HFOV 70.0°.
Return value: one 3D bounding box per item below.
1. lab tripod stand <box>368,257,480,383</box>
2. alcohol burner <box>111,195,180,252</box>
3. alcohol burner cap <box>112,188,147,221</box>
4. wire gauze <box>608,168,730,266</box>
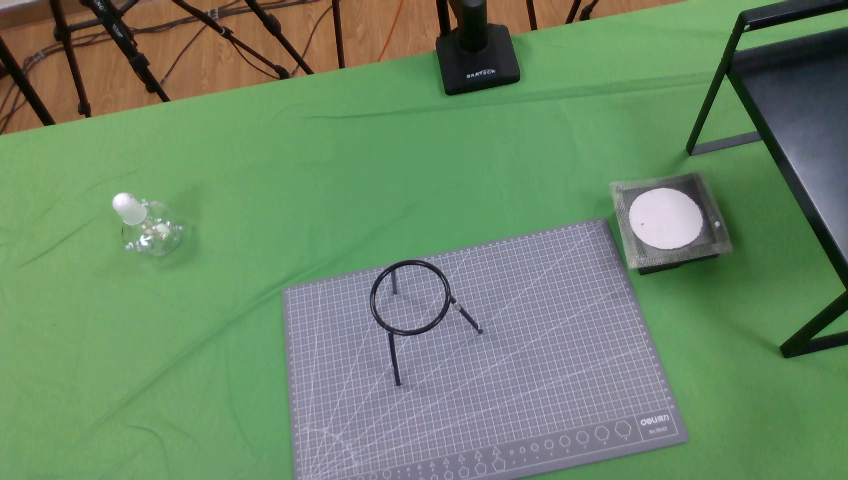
[{"bbox_3d":[-0.012,0.085,0.713,0.148,0.132,0.147,-4,62,8],"label":"lab tripod stand"},{"bbox_3d":[-0.389,-0.033,0.835,0.078,0.120,0.077,-3,64,5],"label":"alcohol burner"},{"bbox_3d":[-0.394,-0.050,0.803,0.034,0.048,0.033,0,63,0],"label":"alcohol burner cap"},{"bbox_3d":[0.300,-0.032,0.751,0.121,0.011,0.124,-7,62,5],"label":"wire gauze"}]
